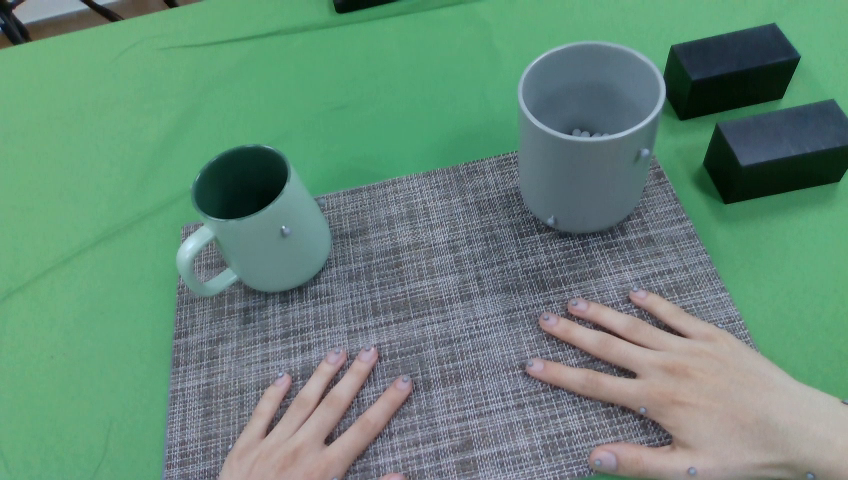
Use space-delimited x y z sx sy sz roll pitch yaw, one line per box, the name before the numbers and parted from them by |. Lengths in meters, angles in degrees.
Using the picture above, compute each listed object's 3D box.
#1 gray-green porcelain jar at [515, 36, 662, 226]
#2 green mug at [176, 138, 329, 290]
gray-green porcelain jar | 0.127 -0.081 0.492 0.106 0.128 0.105 -4 56 7
green mug | -0.146 -0.010 0.503 0.092 0.106 0.125 34 68 27
